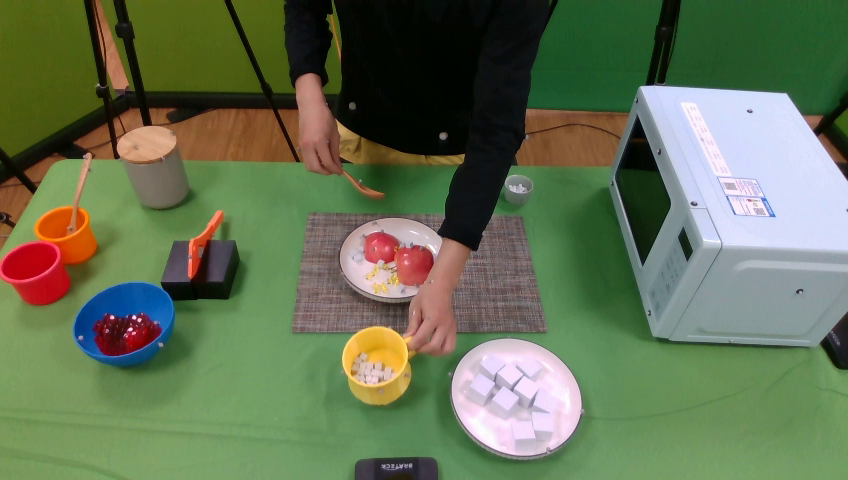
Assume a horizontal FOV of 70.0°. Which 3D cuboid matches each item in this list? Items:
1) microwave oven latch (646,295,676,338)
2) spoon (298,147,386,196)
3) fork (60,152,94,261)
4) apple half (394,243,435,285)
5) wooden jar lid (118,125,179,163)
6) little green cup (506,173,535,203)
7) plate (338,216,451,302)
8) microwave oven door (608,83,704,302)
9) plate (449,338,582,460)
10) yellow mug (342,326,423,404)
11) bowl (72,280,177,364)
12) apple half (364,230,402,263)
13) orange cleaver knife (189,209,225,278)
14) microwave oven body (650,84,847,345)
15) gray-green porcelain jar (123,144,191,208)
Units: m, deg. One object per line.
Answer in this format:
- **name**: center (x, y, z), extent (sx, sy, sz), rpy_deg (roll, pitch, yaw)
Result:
- **microwave oven latch**: center (0.413, 0.133, 1.060), extent (0.030, 0.029, 0.078), rpy_deg (4, 46, 1)
- **spoon**: center (-0.156, -0.130, 1.137), extent (0.193, 0.021, 0.041), rpy_deg (33, 17, 11)
- **fork**: center (-0.638, -0.063, 1.119), extent (0.028, 0.018, 0.207), rpy_deg (12, 90, 8)
- **apple half**: center (-0.017, 0.036, 1.121), extent (0.075, 0.053, 0.080), rpy_deg (1, 47, -7)
- **wooden jar lid**: center (-0.528, -0.181, 1.167), extent (0.108, 0.021, 0.107), rpy_deg (4, 48, -4)
- **little green cup**: center (0.205, -0.111, 1.302), extent (0.061, 0.039, 0.061), rpy_deg (1, 45, -1)
- **plate**: center (-0.054, 0.038, 1.138), extent (0.209, 0.038, 0.208), rpy_deg (2, 46, -2)
- **microwave oven door**: center (0.425, -0.096, 1.138), extent (0.039, 0.245, 0.353), rpy_deg (2, 47, -1)
- **plate**: center (0.141, 0.250, 0.955), extent (0.208, 0.039, 0.206), rpy_deg (2, 47, -2)
- **yellow mug**: center (-0.058, 0.184, 0.930), extent (0.131, 0.064, 0.099), rpy_deg (-27, 56, -17)
- **bowl**: center (-0.472, 0.147, 0.982), extent (0.151, 0.077, 0.150), rpy_deg (2, 46, -2)
- **apple half**: center (-0.079, 0.004, 1.160), extent (0.081, 0.033, 0.081), rpy_deg (2, 49, -3)
- **orange cleaver knife**: center (-0.400, 0.002, 1.122), extent (0.012, 0.077, 0.210), rpy_deg (4, 23, -4)
- **microwave oven body**: center (0.569, -0.054, 1.116), extent (0.326, 0.261, 0.439), rpy_deg (2, 46, -1)
- **gray-green porcelain jar**: center (-0.530, -0.137, 1.213), extent (0.106, 0.127, 0.105), rpy_deg (2, 46, -2)
